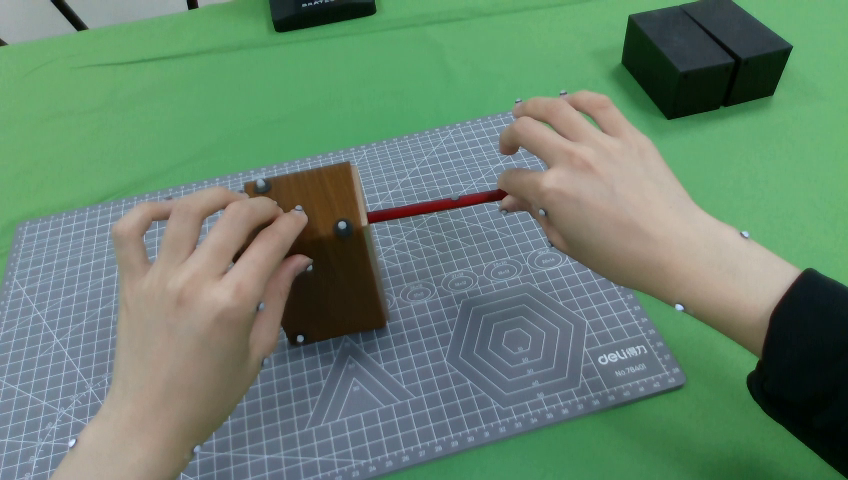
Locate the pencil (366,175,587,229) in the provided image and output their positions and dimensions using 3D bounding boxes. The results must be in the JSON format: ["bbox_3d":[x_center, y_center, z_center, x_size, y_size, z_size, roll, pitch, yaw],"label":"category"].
[{"bbox_3d":[0.009,-0.019,0.381,0.194,0.012,0.012,-11,48,-5],"label":"pencil"}]

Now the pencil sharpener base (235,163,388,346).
[{"bbox_3d":[-0.070,0.013,0.394,0.077,0.108,0.060,-12,49,-4],"label":"pencil sharpener base"}]

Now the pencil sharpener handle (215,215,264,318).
[{"bbox_3d":[-0.120,0.019,0.376,0.031,0.068,0.035,-12,29,-4],"label":"pencil sharpener handle"}]
